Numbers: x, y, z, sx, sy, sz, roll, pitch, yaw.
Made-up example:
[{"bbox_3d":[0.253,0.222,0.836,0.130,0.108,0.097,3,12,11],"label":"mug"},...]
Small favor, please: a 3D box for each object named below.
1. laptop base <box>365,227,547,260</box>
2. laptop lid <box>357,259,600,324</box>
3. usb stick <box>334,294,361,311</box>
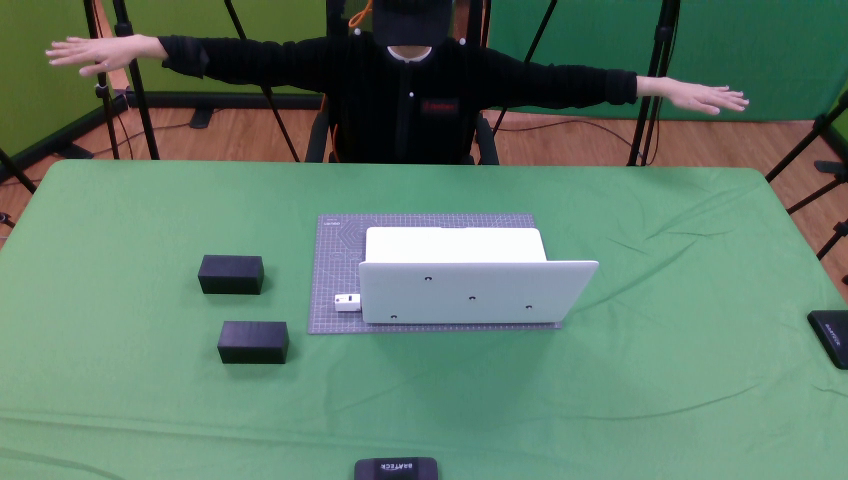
[{"bbox_3d":[0.064,0.062,1.144,0.355,0.023,0.234,0,43,-4],"label":"laptop base"},{"bbox_3d":[0.075,0.087,0.959,0.357,0.242,0.013,1,60,-5],"label":"laptop lid"},{"bbox_3d":[-0.128,0.110,1.066,0.059,0.027,0.021,1,45,-5],"label":"usb stick"}]
